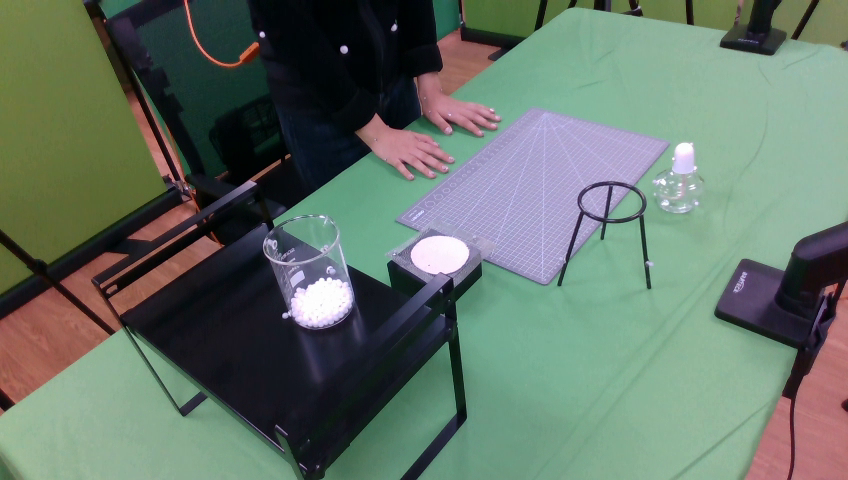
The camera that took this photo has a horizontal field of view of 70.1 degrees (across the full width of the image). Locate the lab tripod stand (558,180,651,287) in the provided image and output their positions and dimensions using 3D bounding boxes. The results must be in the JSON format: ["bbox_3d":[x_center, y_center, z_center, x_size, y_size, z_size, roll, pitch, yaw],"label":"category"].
[{"bbox_3d":[0.258,-0.005,0.857,0.148,0.132,0.147,-4,43,5],"label":"lab tripod stand"}]

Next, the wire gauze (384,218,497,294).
[{"bbox_3d":[0.024,0.016,0.886,0.124,0.011,0.122,28,49,33],"label":"wire gauze"}]

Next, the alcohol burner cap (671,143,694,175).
[{"bbox_3d":[0.403,-0.129,0.941,0.034,0.048,0.033,-9,39,8],"label":"alcohol burner cap"}]

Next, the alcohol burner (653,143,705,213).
[{"bbox_3d":[0.408,-0.102,0.963,0.078,0.119,0.077,-6,42,6],"label":"alcohol burner"}]

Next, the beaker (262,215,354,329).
[{"bbox_3d":[-0.112,0.034,0.616,0.073,0.101,0.084,13,44,23],"label":"beaker"}]
